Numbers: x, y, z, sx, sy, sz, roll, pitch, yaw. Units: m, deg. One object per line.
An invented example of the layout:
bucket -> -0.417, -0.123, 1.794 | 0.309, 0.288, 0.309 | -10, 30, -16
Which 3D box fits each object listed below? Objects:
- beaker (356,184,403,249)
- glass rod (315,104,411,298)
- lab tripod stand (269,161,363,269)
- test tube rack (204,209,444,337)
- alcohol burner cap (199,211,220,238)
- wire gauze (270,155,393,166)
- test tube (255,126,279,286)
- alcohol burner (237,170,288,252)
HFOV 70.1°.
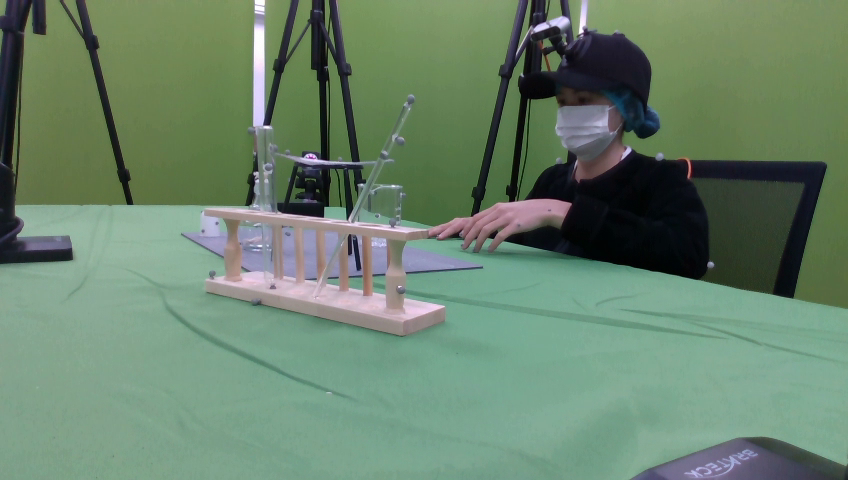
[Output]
beaker -> -0.074, -0.039, 0.975 | 0.074, 0.100, 0.084 | 4, 8, 12
glass rod -> -0.055, -0.027, 0.517 | 0.008, 0.199, 0.008 | 23, 24, -11
lab tripod stand -> -0.125, -0.036, 0.794 | 0.148, 0.131, 0.148 | 5, 7, 0
test tube rack -> -0.100, 0.021, 0.565 | 0.241, 0.085, 0.067 | 7, 9, 32
alcohol burner cap -> -0.356, -0.027, 1.002 | 0.034, 0.048, 0.034 | 3, 7, 0
wire gauze -> -0.121, -0.102, 0.785 | 0.122, 0.011, 0.124 | -3, 10, -39
test tube -> -0.147, -0.031, 0.566 | 0.017, 0.150, 0.017 | -1, 8, 0
alcohol burner -> -0.236, -0.042, 0.882 | 0.078, 0.119, 0.078 | 2, 9, 0
